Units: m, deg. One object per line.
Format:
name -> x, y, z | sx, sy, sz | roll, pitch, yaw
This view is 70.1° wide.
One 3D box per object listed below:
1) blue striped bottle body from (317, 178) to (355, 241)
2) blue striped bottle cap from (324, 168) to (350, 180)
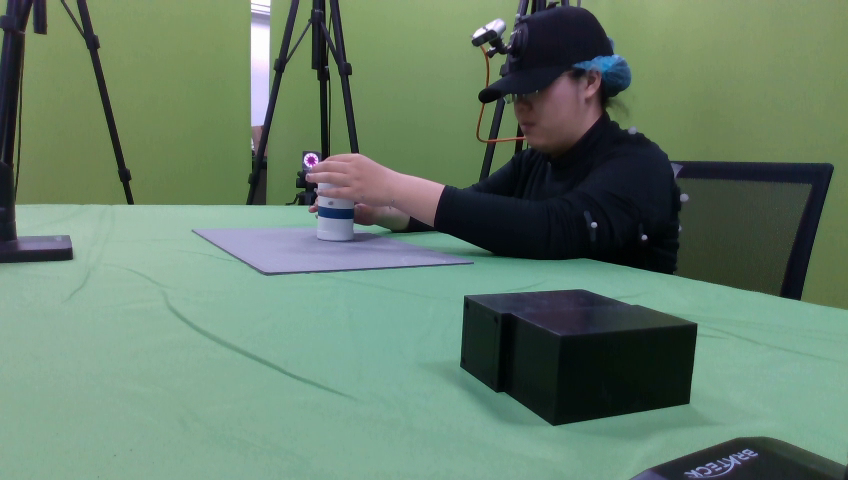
blue striped bottle body -> -0.149, -0.061, 1.024 | 0.063, 0.120, 0.063 | 3, 7, 0
blue striped bottle cap -> -0.146, -0.111, 1.017 | 0.044, 0.020, 0.044 | 0, 8, 0
